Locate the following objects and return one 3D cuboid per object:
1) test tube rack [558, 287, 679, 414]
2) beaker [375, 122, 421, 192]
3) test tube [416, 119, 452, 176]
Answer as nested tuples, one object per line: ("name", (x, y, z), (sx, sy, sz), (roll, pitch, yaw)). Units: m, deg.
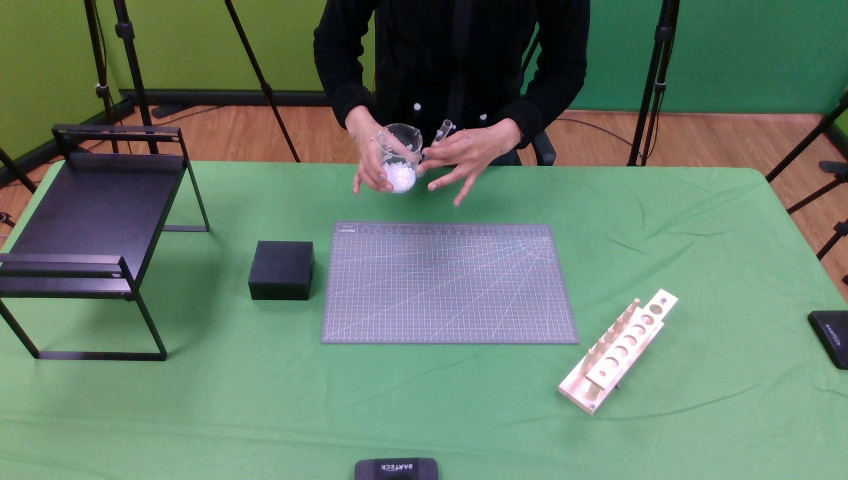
("test tube rack", (0.326, 0.170, 1.009), (0.066, 0.085, 0.242), (35, 54, 26))
("beaker", (-0.043, -0.136, 1.009), (0.073, 0.101, 0.084), (41, 61, 20))
("test tube", (0.014, -0.153, 1.022), (0.017, 0.150, 0.017), (9, 59, -16))
